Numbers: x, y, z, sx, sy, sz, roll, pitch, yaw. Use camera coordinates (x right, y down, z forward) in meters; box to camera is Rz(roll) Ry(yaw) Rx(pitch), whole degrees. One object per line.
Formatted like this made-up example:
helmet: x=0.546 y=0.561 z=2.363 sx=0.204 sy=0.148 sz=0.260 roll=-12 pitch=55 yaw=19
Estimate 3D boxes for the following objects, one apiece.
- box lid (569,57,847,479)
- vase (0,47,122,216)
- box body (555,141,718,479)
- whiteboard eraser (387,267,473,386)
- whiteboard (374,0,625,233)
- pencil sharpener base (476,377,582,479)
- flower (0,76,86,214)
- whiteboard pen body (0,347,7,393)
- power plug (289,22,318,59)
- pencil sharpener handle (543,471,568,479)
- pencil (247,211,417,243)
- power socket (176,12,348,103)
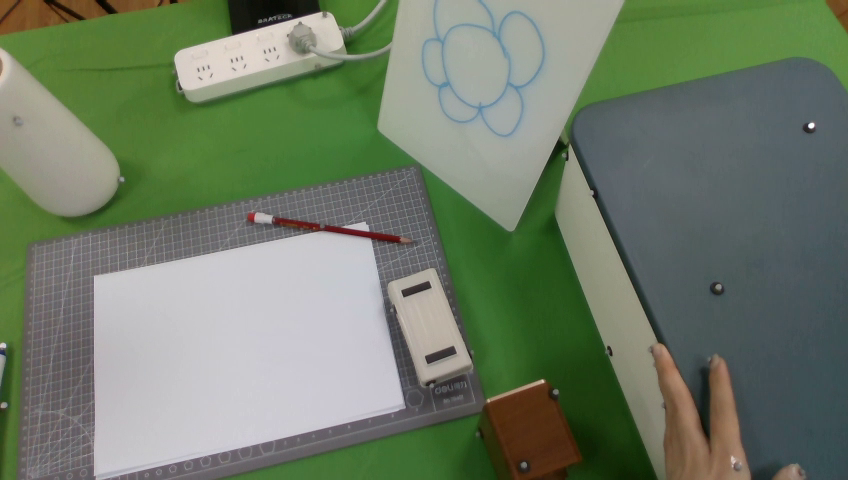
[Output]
box lid: x=0.296 y=0.007 z=0.495 sx=0.263 sy=0.015 sz=0.368 roll=-14 pitch=65 yaw=-5
vase: x=-0.400 y=-0.106 z=0.625 sx=0.098 sy=0.201 sz=0.097 roll=-1 pitch=64 yaw=2
box body: x=0.297 y=0.046 z=0.564 sx=0.254 sy=0.161 sz=0.360 roll=-13 pitch=65 yaw=-6
whiteboard eraser: x=0.005 y=0.086 z=0.612 sx=0.056 sy=0.042 sz=0.111 roll=-17 pitch=65 yaw=-9
whiteboard: x=0.094 y=-0.199 z=0.639 sx=0.216 sy=0.307 sz=0.144 roll=40 pitch=52 yaw=19
pencil sharpener base: x=0.090 y=0.177 z=0.535 sx=0.061 sy=0.108 sz=0.076 roll=-17 pitch=65 yaw=-8
flower: x=-0.399 y=-0.159 z=0.559 sx=0.038 sy=0.365 sz=0.043 roll=-24 pitch=48 yaw=-18
whiteboard pen body: x=-0.426 y=0.171 z=0.589 sx=0.017 sy=0.017 sz=0.139 roll=-9 pitch=61 yaw=-3
power plug: x=-0.148 y=-0.236 z=0.750 sx=0.035 sy=0.053 sz=0.072 roll=-9 pitch=66 yaw=-3
pencil sharpener handle: x=0.108 y=0.214 z=0.504 sx=0.036 sy=0.068 sz=0.030 roll=-21 pitch=66 yaw=1
pencil: x=-0.104 y=-0.013 z=0.680 sx=0.194 sy=0.012 sz=0.012 roll=9 pitch=65 yaw=3
power socket: x=-0.206 y=-0.235 z=0.776 sx=0.227 sy=0.033 sz=0.071 roll=-18 pitch=66 yaw=-8
